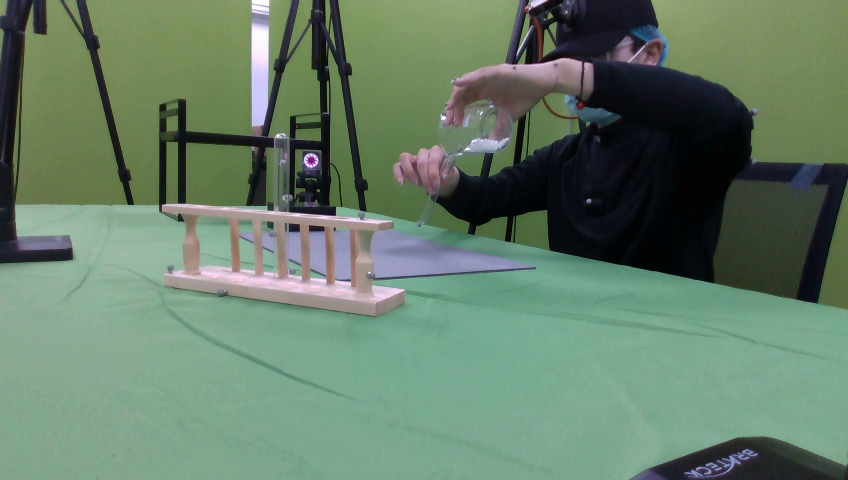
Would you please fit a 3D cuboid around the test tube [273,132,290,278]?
[{"bbox_3d":[-0.146,-0.034,0.617,0.017,0.150,0.017,2,8,0],"label":"test tube"}]

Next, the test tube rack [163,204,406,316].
[{"bbox_3d":[-0.141,0.013,0.601,0.241,0.085,0.067,5,8,21],"label":"test tube rack"}]

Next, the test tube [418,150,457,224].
[{"bbox_3d":[0.020,-0.081,0.965,0.017,0.150,0.017,15,41,-13],"label":"test tube"}]

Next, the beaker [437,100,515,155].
[{"bbox_3d":[0.075,-0.161,0.875,0.074,0.084,0.100,30,-10,-31],"label":"beaker"}]
